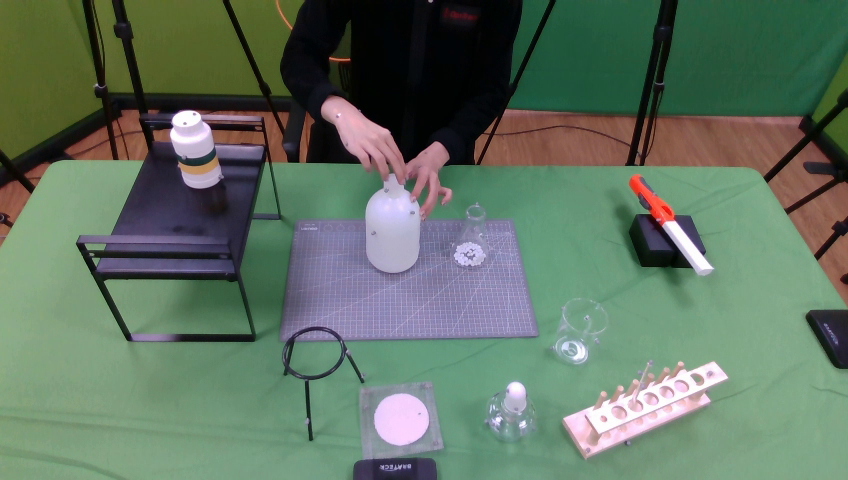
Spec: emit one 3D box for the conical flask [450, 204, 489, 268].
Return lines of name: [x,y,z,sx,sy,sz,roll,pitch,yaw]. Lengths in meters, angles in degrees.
conical flask: [0.091,-0.010,1.141,0.075,0.122,0.075,2,46,-2]

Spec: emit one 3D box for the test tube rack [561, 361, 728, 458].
test tube rack: [0.341,0.248,0.940,0.243,0.085,0.066,-15,49,-18]

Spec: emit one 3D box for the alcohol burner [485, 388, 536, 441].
alcohol burner: [0.131,0.249,0.904,0.078,0.120,0.077,1,48,-1]

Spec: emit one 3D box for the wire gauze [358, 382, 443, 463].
wire gauze: [-0.039,0.277,0.937,0.121,0.011,0.124,-4,47,-7]

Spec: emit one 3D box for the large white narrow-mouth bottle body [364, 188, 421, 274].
large white narrow-mouth bottle body: [-0.058,-0.033,1.104,0.102,0.195,0.101,4,46,-4]

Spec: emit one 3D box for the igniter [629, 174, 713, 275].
igniter: [0.481,-0.040,1.202,0.057,0.025,0.274,-2,46,-21]

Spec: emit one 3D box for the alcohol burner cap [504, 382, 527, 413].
alcohol burner cap: [0.133,0.225,0.877,0.034,0.048,0.033,-4,47,4]

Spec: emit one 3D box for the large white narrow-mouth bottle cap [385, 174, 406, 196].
large white narrow-mouth bottle cap: [-0.049,-0.094,1.040,0.038,0.024,0.037,4,46,-4]

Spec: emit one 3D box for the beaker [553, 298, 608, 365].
beaker: [0.260,0.154,1.015,0.073,0.101,0.084,37,54,27]

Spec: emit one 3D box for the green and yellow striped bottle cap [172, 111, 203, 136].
green and yellow striped bottle cap: [-0.374,-0.185,0.958,0.045,0.020,0.045,4,45,-3]

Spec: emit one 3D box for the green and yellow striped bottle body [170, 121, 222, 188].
green and yellow striped bottle body: [-0.375,-0.149,0.995,0.063,0.120,0.063,2,46,-2]

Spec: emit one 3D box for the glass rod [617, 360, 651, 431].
glass rod: [0.297,0.227,0.865,0.008,0.201,0.008,-1,48,2]

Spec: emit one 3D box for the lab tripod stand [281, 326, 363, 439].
lab tripod stand: [-0.166,0.202,0.913,0.148,0.132,0.147,1,47,-1]
